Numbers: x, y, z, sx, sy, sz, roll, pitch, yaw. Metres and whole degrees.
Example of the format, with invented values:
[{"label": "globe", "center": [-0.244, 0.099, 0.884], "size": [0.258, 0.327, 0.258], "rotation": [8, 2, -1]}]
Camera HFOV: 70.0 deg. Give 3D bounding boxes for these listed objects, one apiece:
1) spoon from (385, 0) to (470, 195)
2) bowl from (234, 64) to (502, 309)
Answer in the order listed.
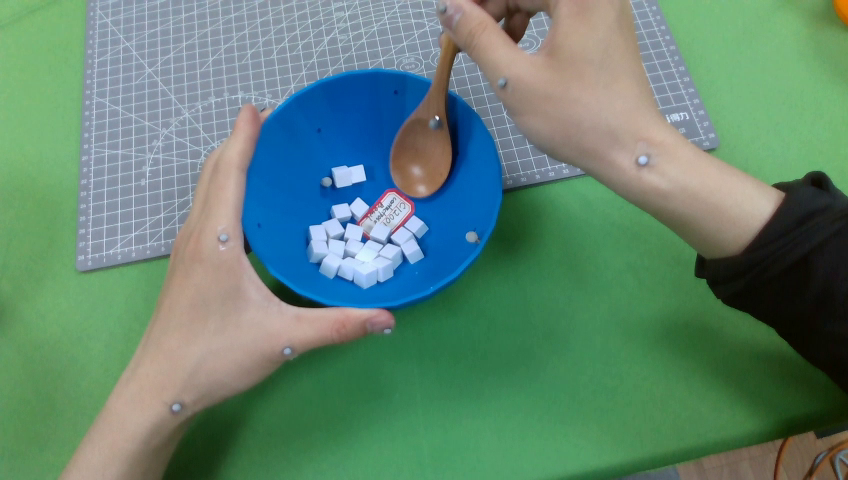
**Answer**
[{"label": "spoon", "center": [0.012, -0.101, 0.329], "size": [0.041, 0.195, 0.021], "rotation": [31, 47, 12]}, {"label": "bowl", "center": [-0.030, -0.022, 0.374], "size": [0.151, 0.077, 0.150], "rotation": [0, 70, 1]}]
